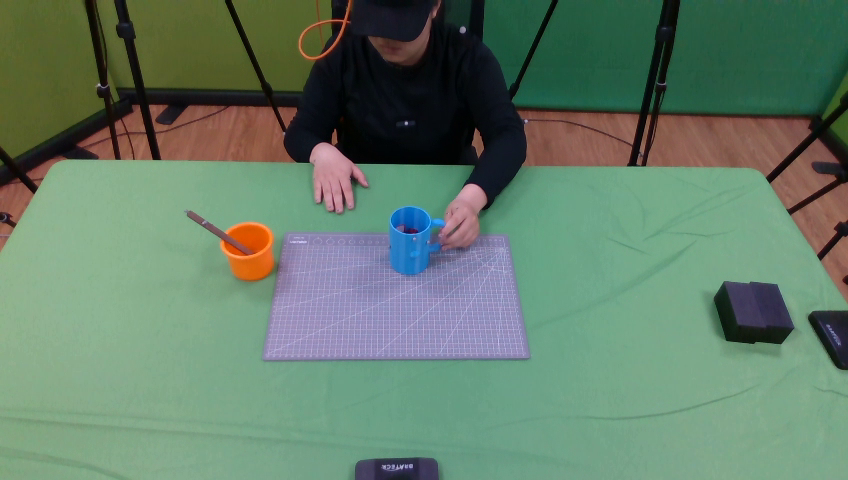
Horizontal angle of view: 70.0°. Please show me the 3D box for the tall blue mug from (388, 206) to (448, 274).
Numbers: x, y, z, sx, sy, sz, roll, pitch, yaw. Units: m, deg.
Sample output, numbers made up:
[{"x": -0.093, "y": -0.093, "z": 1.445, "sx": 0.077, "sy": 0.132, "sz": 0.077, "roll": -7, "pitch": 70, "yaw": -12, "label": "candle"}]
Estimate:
[{"x": -0.017, "y": -0.006, "z": 1.140, "sx": 0.077, "sy": 0.108, "sz": 0.107, "roll": 36, "pitch": 53, "yaw": 28, "label": "tall blue mug"}]

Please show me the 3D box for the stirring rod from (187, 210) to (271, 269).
[{"x": -0.349, "y": 0.001, "z": 1.092, "sx": 0.177, "sy": 0.006, "sz": 0.014, "roll": 39, "pitch": 35, "yaw": -27, "label": "stirring rod"}]
